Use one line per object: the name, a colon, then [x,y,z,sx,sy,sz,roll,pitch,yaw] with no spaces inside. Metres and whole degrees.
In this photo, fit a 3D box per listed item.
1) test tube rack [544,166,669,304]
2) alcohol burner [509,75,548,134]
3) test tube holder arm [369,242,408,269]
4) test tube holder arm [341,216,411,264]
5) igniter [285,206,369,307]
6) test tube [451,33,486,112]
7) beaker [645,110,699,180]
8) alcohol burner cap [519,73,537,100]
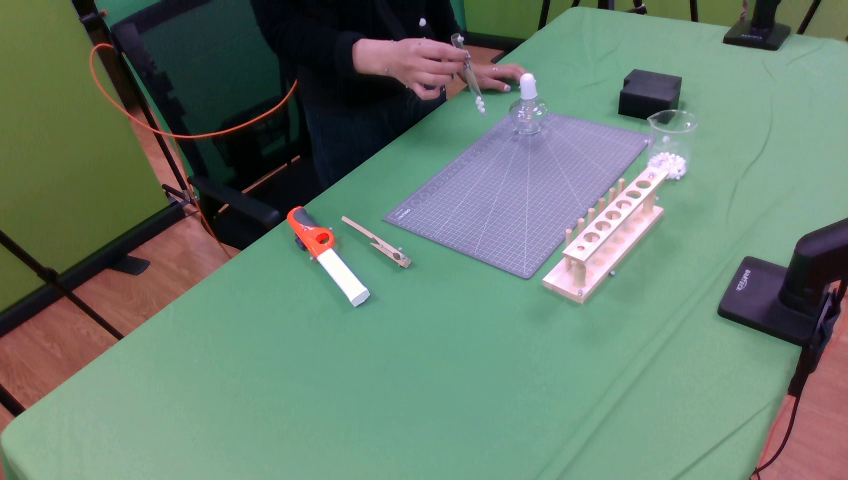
test tube rack: [0.274,-0.018,0.903,0.066,0.085,0.243,26,51,35]
alcohol burner: [0.205,-0.270,1.186,0.078,0.119,0.077,-5,42,5]
test tube holder arm: [-0.057,0.021,0.971,0.087,0.015,0.010,34,87,40]
test tube holder arm: [-0.083,-0.002,1.000,0.177,0.015,0.013,33,86,40]
igniter: [-0.166,0.018,0.986,0.057,0.025,0.274,-34,45,-12]
test tube: [0.075,-0.270,0.988,0.017,0.151,0.017,-14,46,16]
beaker: [0.417,-0.160,1.033,0.083,0.101,0.074,25,51,34]
alcohol burner cap: [0.198,-0.298,1.163,0.034,0.048,0.033,-9,37,8]
